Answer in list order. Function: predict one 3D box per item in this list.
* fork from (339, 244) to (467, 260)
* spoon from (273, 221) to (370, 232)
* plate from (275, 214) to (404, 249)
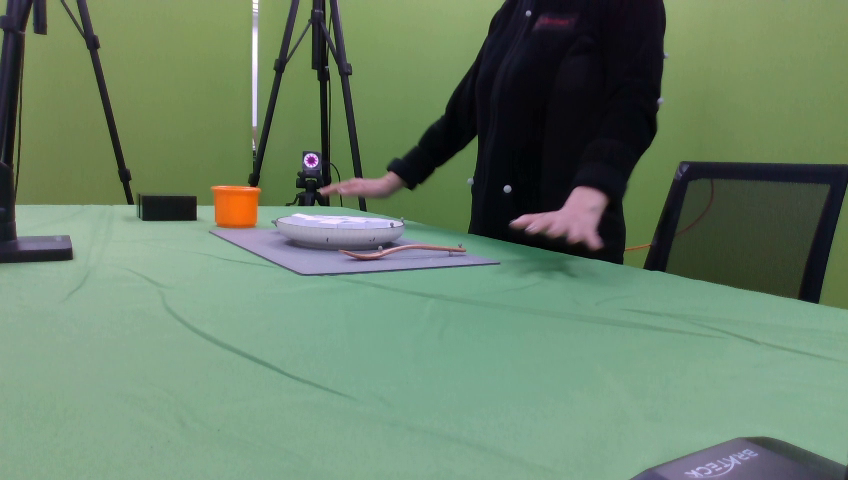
[{"bbox_3d":[-0.024,0.016,0.865,0.208,0.018,0.028,-4,5,-31],"label":"fork"},{"bbox_3d":[-0.187,-0.027,1.132,0.195,0.021,0.041,-3,-11,-34],"label":"spoon"},{"bbox_3d":[-0.135,-0.013,0.982,0.208,0.039,0.207,3,7,0],"label":"plate"}]
